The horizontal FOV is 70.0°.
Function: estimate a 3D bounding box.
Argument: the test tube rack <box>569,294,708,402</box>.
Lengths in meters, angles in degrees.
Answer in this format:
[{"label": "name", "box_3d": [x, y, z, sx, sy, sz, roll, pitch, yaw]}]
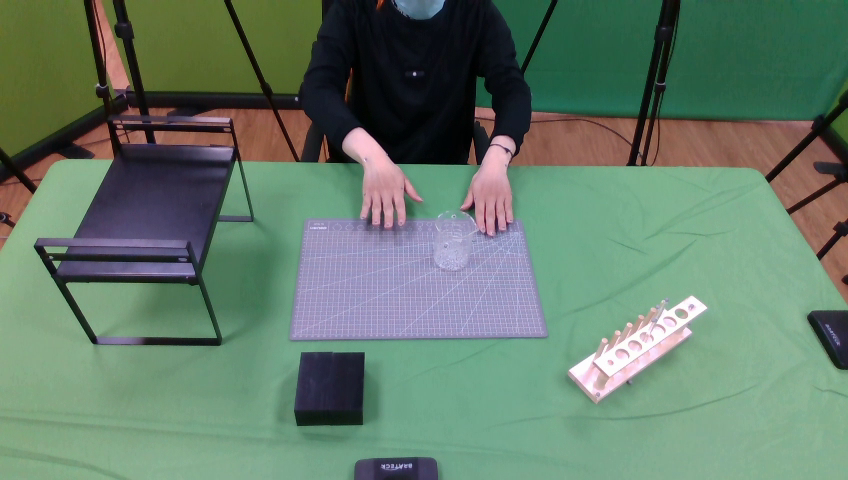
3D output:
[{"label": "test tube rack", "box_3d": [0.360, 0.167, 1.015, 0.242, 0.085, 0.066, -25, 53, -25]}]

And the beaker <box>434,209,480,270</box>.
[{"label": "beaker", "box_3d": [0.058, 0.002, 1.138, 0.084, 0.101, 0.073, 8, 47, 3]}]

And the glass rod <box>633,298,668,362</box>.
[{"label": "glass rod", "box_3d": [0.350, 0.144, 0.945, 0.008, 0.201, 0.008, -1, 53, 2]}]
